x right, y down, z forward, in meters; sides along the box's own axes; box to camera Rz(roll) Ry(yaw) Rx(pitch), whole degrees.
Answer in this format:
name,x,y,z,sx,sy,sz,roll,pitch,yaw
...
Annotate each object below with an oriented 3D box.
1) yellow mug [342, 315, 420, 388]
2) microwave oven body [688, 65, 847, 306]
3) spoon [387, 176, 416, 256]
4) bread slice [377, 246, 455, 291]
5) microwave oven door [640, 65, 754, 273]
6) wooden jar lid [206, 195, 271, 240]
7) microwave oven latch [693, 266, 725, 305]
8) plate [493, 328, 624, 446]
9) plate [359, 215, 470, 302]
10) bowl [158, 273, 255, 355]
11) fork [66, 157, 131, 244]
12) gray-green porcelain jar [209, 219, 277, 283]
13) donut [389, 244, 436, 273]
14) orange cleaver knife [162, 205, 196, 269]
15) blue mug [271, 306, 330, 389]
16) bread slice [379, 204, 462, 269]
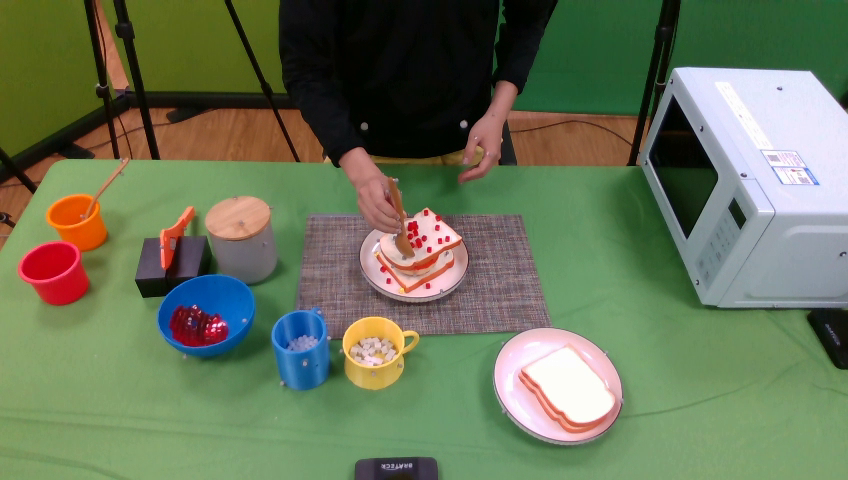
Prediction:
name,x,y,z,sx,sy,sz,roll,pitch,yaw
yellow mug,-0.068,0.177,0.990,0.131,0.064,0.099,-15,50,-19
microwave oven body,0.669,-0.111,1.176,0.326,0.261,0.439,0,46,-3
spoon,-0.040,-0.036,0.992,0.041,0.195,0.021,26,55,28
bread slice,-0.010,0.034,1.151,0.131,0.019,0.104,-29,57,-22
microwave oven door,0.523,-0.147,1.193,0.039,0.245,0.353,0,47,-3
wooden jar lid,-0.319,-0.036,1.046,0.108,0.021,0.107,1,44,0
microwave oven latch,0.523,0.081,1.115,0.030,0.029,0.078,3,46,0
plate,0.213,0.236,0.974,0.208,0.039,0.206,2,46,-2
plate,-0.019,0.038,1.140,0.209,0.038,0.208,2,46,-2
bowl,-0.351,0.136,1.001,0.151,0.077,0.150,2,46,-2
fork,-0.608,-0.074,1.132,0.207,0.019,0.028,-52,48,10
gray-green porcelain jar,-0.323,0.007,1.092,0.106,0.127,0.105,2,46,-2
donut,-0.023,0.018,1.120,0.099,0.048,0.098,-10,48,11
orange cleaver knife,-0.454,-0.010,1.129,0.012,0.077,0.210,-1,20,-5
blue mug,-0.188,0.163,0.969,0.082,0.106,0.116,15,47,10
bread slice,-0.011,-0.001,1.097,0.134,0.018,0.106,-35,53,-22
